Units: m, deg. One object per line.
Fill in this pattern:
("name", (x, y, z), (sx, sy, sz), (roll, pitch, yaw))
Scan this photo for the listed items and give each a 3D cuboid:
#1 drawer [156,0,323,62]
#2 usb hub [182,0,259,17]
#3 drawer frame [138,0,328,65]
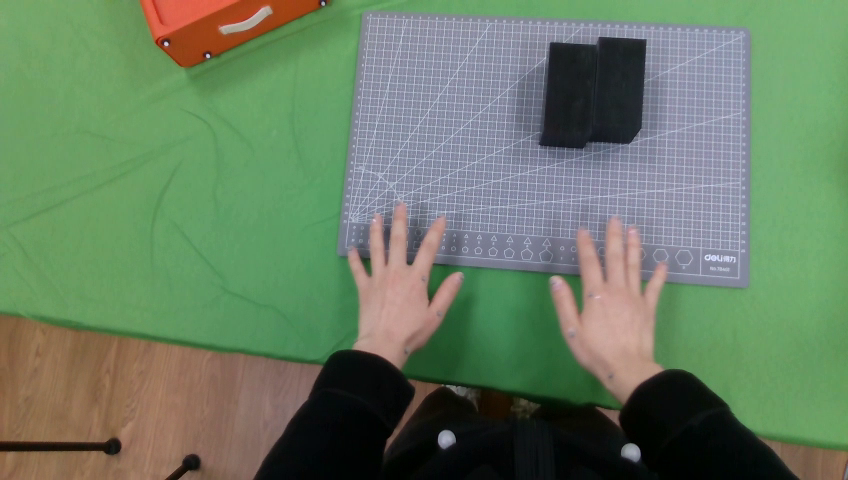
("drawer", (-0.246, -0.346, 0.713), (0.194, 0.073, 0.211), (-25, 81, 1))
("usb hub", (-0.228, -0.307, 0.721), (0.125, 0.025, 0.049), (-10, 81, 8))
("drawer frame", (-0.247, -0.347, 0.713), (0.202, 0.083, 0.212), (-26, 79, 1))
